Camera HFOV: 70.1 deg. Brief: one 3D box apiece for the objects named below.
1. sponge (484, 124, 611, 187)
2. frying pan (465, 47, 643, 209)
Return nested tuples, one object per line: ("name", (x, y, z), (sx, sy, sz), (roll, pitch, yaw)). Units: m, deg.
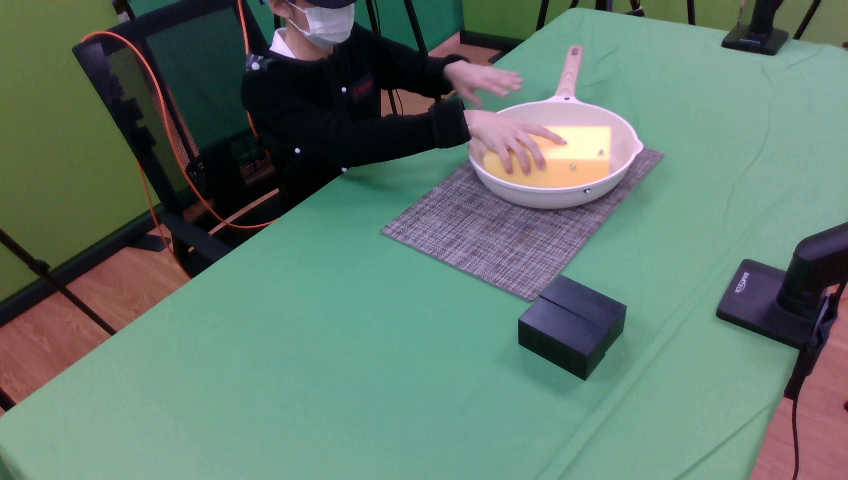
("sponge", (0.216, -0.147, 1.050), (0.206, 0.061, 0.118), (2, 39, 14))
("frying pan", (0.255, -0.227, 1.135), (0.305, 0.103, 0.487), (9, 51, 17))
